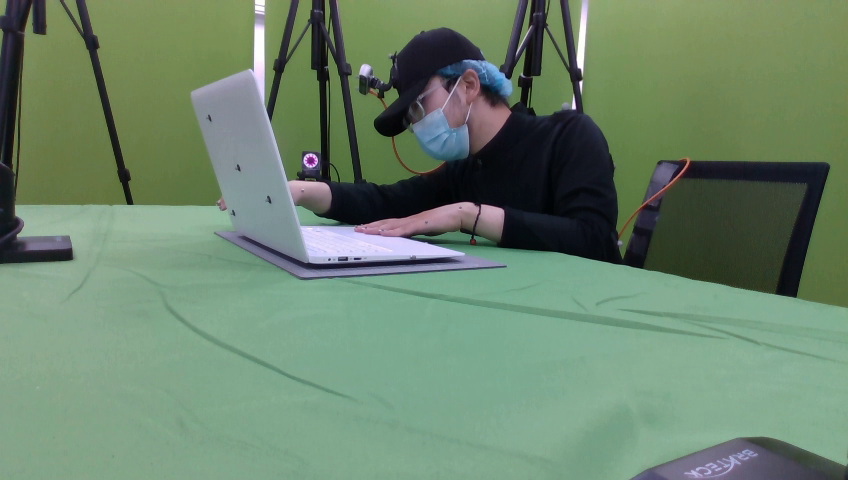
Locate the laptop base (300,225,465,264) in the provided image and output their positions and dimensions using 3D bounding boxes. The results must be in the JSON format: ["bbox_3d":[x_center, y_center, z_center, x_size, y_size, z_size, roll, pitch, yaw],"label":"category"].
[{"bbox_3d":[-0.128,0.005,0.937,0.237,0.023,0.352,2,6,-32],"label":"laptop base"}]

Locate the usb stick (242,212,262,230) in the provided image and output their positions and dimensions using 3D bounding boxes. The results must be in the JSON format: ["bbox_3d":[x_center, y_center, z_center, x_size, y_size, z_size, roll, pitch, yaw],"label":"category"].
[{"bbox_3d":[-0.302,-0.032,1.065,0.021,0.027,0.059,3,10,-34],"label":"usb stick"}]

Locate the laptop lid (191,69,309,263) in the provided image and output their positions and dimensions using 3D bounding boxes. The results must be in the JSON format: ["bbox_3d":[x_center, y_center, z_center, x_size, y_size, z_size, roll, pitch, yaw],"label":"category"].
[{"bbox_3d":[-0.255,-0.102,0.842,0.013,0.242,0.355,-22,20,-27],"label":"laptop lid"}]
